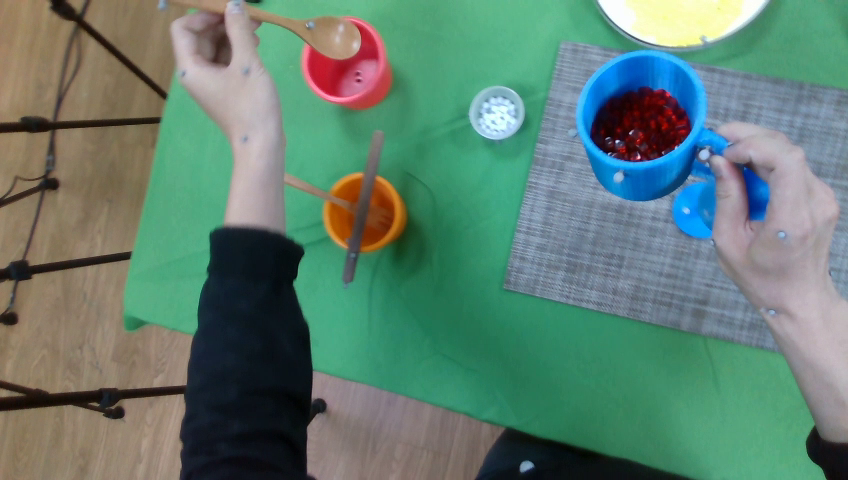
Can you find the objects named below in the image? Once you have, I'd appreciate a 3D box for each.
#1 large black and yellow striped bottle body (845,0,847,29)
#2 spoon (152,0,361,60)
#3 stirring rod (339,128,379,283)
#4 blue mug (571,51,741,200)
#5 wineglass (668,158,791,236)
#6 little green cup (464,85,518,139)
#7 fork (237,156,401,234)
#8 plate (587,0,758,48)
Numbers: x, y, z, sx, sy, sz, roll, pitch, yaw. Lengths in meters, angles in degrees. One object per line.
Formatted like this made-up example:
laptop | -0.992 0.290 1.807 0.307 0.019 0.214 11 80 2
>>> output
large black and yellow striped bottle body | 0.508 -0.251 0.569 0.130 0.184 0.130 0 90 10
spoon | -0.138 -0.193 0.536 0.021 0.195 0.042 14 102 44
stirring rod | -0.074 -0.038 0.680 0.014 0.006 0.176 11 93 9
blue mug | 0.172 -0.073 0.443 0.116 0.106 0.082 26 93 22
wineglass | 0.298 -0.039 0.607 0.073 0.172 0.073 0 90 10
little green cup | 0.081 -0.148 0.713 0.061 0.039 0.061 0 91 10
fork | -0.114 -0.050 0.689 0.209 0.018 0.028 22 102 -35
plate | 0.277 -0.317 0.679 0.209 0.038 0.209 0 91 9
